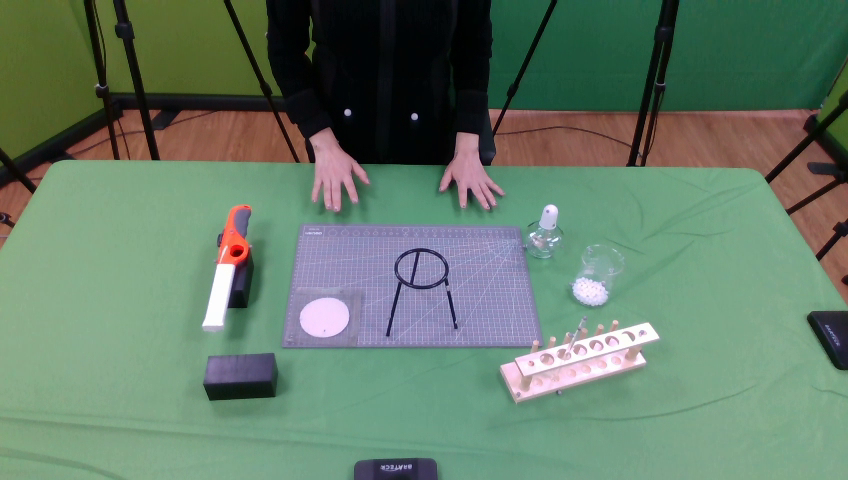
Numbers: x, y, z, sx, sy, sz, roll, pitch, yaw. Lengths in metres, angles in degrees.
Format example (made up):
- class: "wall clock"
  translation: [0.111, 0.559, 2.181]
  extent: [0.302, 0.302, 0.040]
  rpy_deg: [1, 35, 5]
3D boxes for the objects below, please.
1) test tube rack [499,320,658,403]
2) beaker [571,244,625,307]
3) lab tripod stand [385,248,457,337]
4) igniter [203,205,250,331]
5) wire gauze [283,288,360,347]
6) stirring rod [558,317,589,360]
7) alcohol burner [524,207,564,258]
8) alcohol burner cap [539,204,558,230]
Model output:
- class: "test tube rack"
  translation: [0.252, 0.187, 0.994]
  extent: [0.243, 0.085, 0.066]
  rpy_deg: [-12, 48, -15]
- class: "beaker"
  translation: [0.315, 0.067, 1.105]
  extent: [0.084, 0.101, 0.073]
  rpy_deg: [-9, 48, -13]
- class: "lab tripod stand"
  translation: [-0.010, 0.087, 1.032]
  extent: [0.148, 0.132, 0.147]
  rpy_deg: [1, 45, -1]
- class: "igniter"
  translation: [-0.345, 0.038, 1.065]
  extent: [0.057, 0.025, 0.274]
  rpy_deg: [2, 49, -6]
- class: "wire gauze"
  translation: [-0.178, 0.132, 1.063]
  extent: [0.125, 0.011, 0.120]
  rpy_deg: [2, 46, 1]
- class: "stirring rod"
  translation: [0.221, 0.155, 0.912]
  extent: [0.014, 0.177, 0.006]
  rpy_deg: [4, 58, 2]
- class: "alcohol burner"
  translation: [0.236, -0.021, 1.174]
  extent: [0.078, 0.120, 0.077]
  rpy_deg: [1, 48, -1]
- class: "alcohol burner cap"
  translation: [0.238, -0.046, 1.148]
  extent: [0.034, 0.048, 0.033]
  rpy_deg: [2, 42, -1]
